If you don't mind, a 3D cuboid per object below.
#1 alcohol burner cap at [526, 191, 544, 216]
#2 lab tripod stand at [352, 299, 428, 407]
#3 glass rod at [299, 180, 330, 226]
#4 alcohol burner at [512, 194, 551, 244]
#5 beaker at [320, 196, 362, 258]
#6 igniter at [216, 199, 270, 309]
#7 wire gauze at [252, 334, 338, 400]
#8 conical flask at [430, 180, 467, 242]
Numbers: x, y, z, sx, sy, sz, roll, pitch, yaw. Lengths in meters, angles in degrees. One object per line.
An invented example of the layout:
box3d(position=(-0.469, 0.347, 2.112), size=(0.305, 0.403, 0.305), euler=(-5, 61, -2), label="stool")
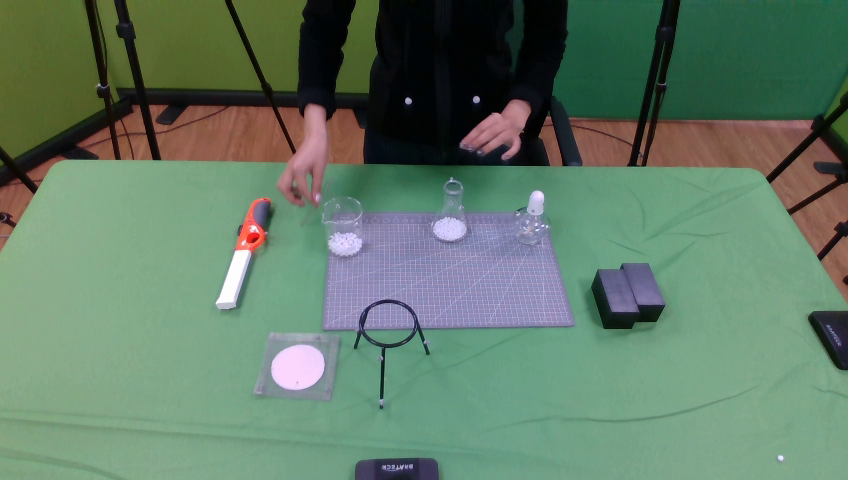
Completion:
box3d(position=(0.216, -0.073, 1.170), size=(0.034, 0.048, 0.033), euler=(0, 42, 0), label="alcohol burner cap")
box3d(position=(-0.056, 0.166, 0.958), size=(0.148, 0.132, 0.147), euler=(3, 44, -2), label="lab tripod stand")
box3d(position=(-0.209, -0.075, 1.172), size=(0.008, 0.008, 0.199), euler=(8, 30, 4), label="glass rod")
box3d(position=(0.215, -0.048, 1.196), size=(0.078, 0.119, 0.077), euler=(4, 46, -4), label="alcohol burner")
box3d(position=(-0.156, -0.021, 1.150), size=(0.084, 0.101, 0.073), euler=(-30, 55, -28), label="beaker")
box3d(position=(-0.341, 0.016, 1.153), size=(0.057, 0.025, 0.275), euler=(-3, 45, 7), label="igniter")
box3d(position=(-0.209, 0.204, 0.996), size=(0.125, 0.011, 0.120), euler=(3, 45, 1), label="wire gauze")
box3d(position=(0.052, -0.060, 1.189), size=(0.075, 0.122, 0.075), euler=(2, 46, -2), label="conical flask")
